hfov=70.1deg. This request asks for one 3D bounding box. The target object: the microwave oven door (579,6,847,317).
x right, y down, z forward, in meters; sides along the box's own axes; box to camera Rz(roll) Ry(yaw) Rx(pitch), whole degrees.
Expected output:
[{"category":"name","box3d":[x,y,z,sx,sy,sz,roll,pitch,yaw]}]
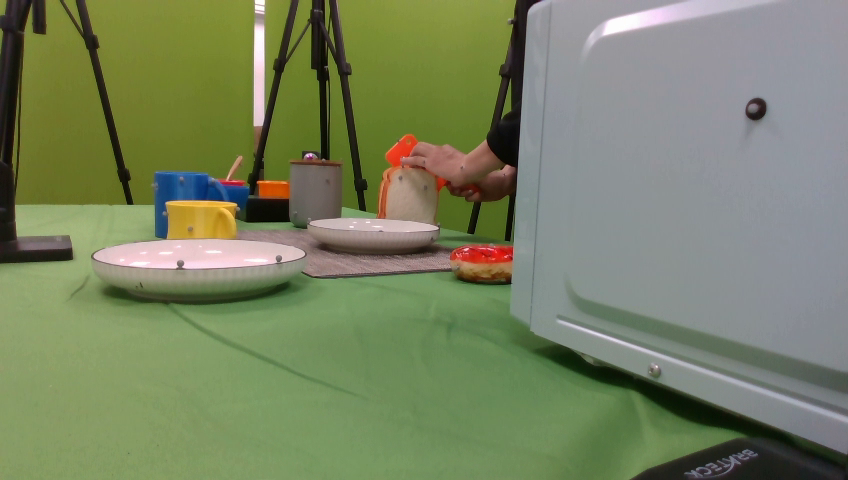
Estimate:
[{"category":"microwave oven door","box3d":[0.294,-0.067,0.570,0.358,0.243,0.039,-3,9,-31]}]

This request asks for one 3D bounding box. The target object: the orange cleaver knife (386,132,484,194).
[{"category":"orange cleaver knife","box3d":[0.023,-0.131,1.172,0.212,0.077,0.012,31,-2,-22]}]

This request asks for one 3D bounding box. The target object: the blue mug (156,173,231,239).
[{"category":"blue mug","box3d":[-0.381,-0.057,1.004,0.117,0.106,0.082,1,8,-12]}]

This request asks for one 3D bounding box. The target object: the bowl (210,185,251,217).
[{"category":"bowl","box3d":[-0.408,-0.064,1.155,0.151,0.077,0.151,2,8,0]}]

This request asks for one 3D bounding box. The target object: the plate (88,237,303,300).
[{"category":"plate","box3d":[-0.233,0.029,0.637,0.208,0.039,0.207,2,7,0]}]

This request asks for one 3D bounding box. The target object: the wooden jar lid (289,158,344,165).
[{"category":"wooden jar lid","box3d":[-0.215,-0.153,1.212,0.108,0.020,0.108,2,5,0]}]

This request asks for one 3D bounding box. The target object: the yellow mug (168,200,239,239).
[{"category":"yellow mug","box3d":[-0.320,-0.023,0.904,0.130,0.064,0.100,9,11,36]}]

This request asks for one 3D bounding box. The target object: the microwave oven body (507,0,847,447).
[{"category":"microwave oven body","box3d":[0.331,-0.042,0.425,0.444,0.260,0.324,-2,8,-31]}]

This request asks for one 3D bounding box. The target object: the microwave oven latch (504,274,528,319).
[{"category":"microwave oven latch","box3d":[0.100,0.041,0.470,0.079,0.029,0.030,-1,7,-27]}]

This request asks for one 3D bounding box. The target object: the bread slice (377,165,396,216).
[{"category":"bread slice","box3d":[-0.037,-0.081,1.166,0.105,0.131,0.019,4,1,-21]}]

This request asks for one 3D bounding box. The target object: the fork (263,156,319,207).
[{"category":"fork","box3d":[-0.331,-0.144,1.505,0.207,0.018,0.028,-42,-21,22]}]

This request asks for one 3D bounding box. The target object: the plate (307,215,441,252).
[{"category":"plate","box3d":[-0.078,-0.012,0.954,0.209,0.038,0.209,2,8,0]}]

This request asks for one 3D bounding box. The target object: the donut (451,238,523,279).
[{"category":"donut","box3d":[0.083,0.022,0.745,0.099,0.048,0.099,1,5,0]}]

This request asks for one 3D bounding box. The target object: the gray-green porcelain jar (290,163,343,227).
[{"category":"gray-green porcelain jar","box3d":[-0.217,-0.091,1.221,0.106,0.126,0.106,2,7,0]}]

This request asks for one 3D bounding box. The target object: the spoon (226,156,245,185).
[{"category":"spoon","box3d":[-0.477,-0.145,1.492,0.041,0.022,0.193,0,51,12]}]

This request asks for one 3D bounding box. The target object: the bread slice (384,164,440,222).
[{"category":"bread slice","box3d":[-0.025,-0.074,1.119,0.107,0.134,0.018,-2,12,-18]}]
